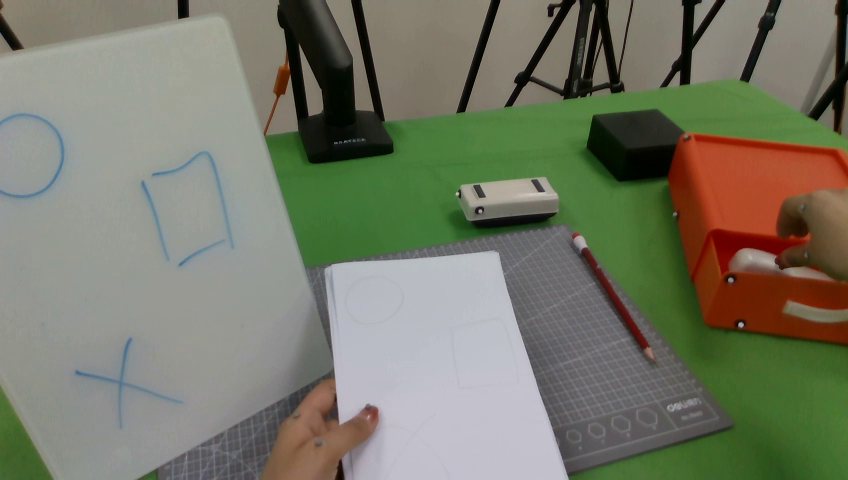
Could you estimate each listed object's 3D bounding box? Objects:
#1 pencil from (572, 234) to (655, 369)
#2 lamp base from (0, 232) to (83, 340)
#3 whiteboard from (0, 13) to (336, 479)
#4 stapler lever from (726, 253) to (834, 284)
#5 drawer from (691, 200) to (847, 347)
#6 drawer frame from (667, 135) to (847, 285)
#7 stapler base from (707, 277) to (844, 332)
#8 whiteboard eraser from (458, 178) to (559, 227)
[{"bbox_3d":[0.191,0.056,0.621,0.012,0.012,0.192,-6,40,-9],"label":"pencil"},{"bbox_3d":[-0.434,-0.018,0.551,0.178,0.182,0.160,15,39,20],"label":"lamp base"},{"bbox_3d":[-0.230,0.006,0.476,0.217,0.307,0.142,-25,26,-29],"label":"whiteboard"},{"bbox_3d":[0.357,0.041,0.593,0.118,0.040,0.026,10,37,5],"label":"stapler lever"},{"bbox_3d":[0.383,0.012,0.635,0.194,0.074,0.210,7,37,8],"label":"drawer"},{"bbox_3d":[0.395,-0.028,0.683,0.201,0.083,0.212,7,37,7],"label":"drawer frame"},{"bbox_3d":[0.353,0.058,0.605,0.130,0.024,0.041,14,37,2],"label":"stapler base"},{"bbox_3d":[0.100,-0.044,0.725,0.113,0.042,0.055,-5,39,-10],"label":"whiteboard eraser"}]
